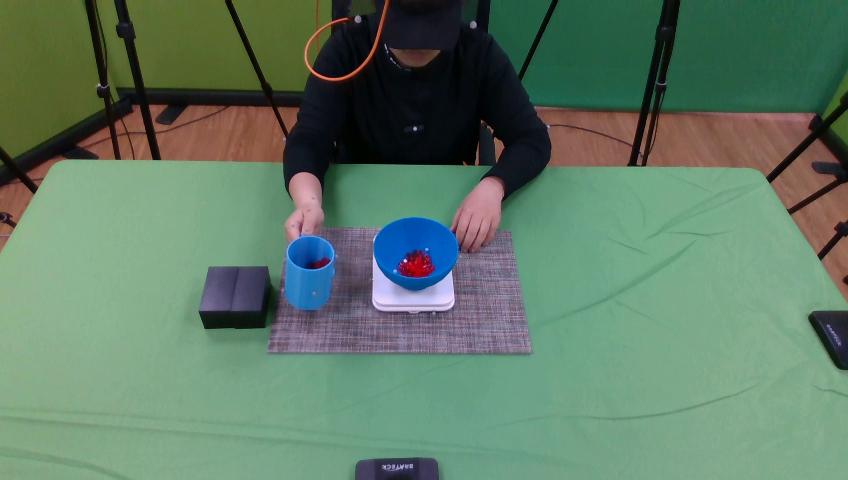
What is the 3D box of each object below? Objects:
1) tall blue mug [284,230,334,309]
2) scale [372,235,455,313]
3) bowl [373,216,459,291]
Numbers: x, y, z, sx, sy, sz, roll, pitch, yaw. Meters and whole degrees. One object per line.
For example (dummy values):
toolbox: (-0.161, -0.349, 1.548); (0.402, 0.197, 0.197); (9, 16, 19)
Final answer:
tall blue mug: (-0.203, 0.045, 1.019); (0.078, 0.108, 0.106); (-29, 61, -33)
scale: (-0.022, 0.051, 1.134); (0.149, 0.032, 0.199); (1, 46, -4)
bowl: (-0.015, 0.036, 1.075); (0.151, 0.077, 0.150); (1, 46, -1)
